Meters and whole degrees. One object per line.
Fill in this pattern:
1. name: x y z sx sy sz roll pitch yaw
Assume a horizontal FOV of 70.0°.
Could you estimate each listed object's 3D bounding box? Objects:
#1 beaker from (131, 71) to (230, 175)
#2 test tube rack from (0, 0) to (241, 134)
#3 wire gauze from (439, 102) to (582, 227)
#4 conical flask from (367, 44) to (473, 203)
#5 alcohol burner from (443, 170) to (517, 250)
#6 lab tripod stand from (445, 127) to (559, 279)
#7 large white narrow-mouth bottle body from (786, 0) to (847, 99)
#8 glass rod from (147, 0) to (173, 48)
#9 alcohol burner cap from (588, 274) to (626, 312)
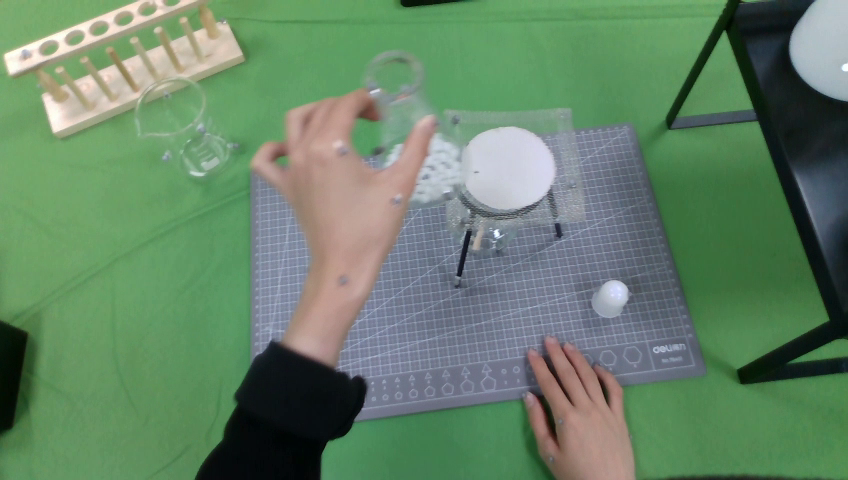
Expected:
1. beaker: -0.267 -0.123 0.672 0.073 0.101 0.084 38 74 17
2. test tube rack: -0.356 -0.223 0.725 0.242 0.086 0.066 -26 69 -9
3. wire gauze: 0.076 -0.072 0.544 0.121 0.011 0.124 -2 68 0
4. conical flask: -0.007 -0.083 0.427 0.075 0.123 0.075 -3 67 8
5. alcohol burner: 0.058 -0.036 0.614 0.078 0.120 0.077 0 66 0
6. lab tripod stand: 0.071 -0.040 0.604 0.148 0.132 0.147 0 65 1
7. large white narrow-mouth bottle body: 0.356 -0.198 0.436 0.102 0.196 0.101 -1 65 2
8. glass rod: -0.315 -0.287 0.678 0.008 0.201 0.008 1 65 -2
9. alcohol burner cap: 0.186 0.051 0.612 0.034 0.048 0.033 -1 68 2
